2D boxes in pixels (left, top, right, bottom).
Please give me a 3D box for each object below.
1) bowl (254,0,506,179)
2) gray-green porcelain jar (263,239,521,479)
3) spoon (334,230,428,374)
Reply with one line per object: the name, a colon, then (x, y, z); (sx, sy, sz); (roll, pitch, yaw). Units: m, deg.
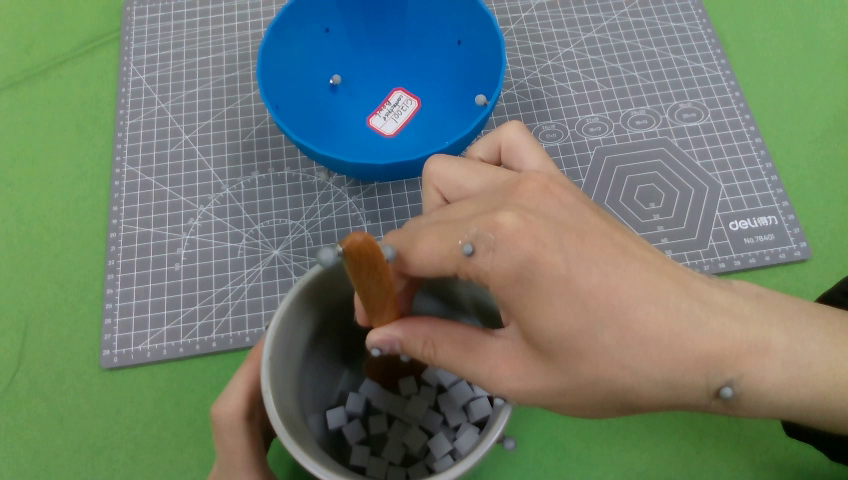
bowl: (-0.025, -0.095, 0.395); (0.151, 0.077, 0.150); (-1, 66, 2)
gray-green porcelain jar: (-0.010, 0.072, 0.301); (0.106, 0.127, 0.105); (-1, 66, 2)
spoon: (-0.017, 0.037, 0.267); (0.041, 0.195, 0.021); (-12, 72, -5)
